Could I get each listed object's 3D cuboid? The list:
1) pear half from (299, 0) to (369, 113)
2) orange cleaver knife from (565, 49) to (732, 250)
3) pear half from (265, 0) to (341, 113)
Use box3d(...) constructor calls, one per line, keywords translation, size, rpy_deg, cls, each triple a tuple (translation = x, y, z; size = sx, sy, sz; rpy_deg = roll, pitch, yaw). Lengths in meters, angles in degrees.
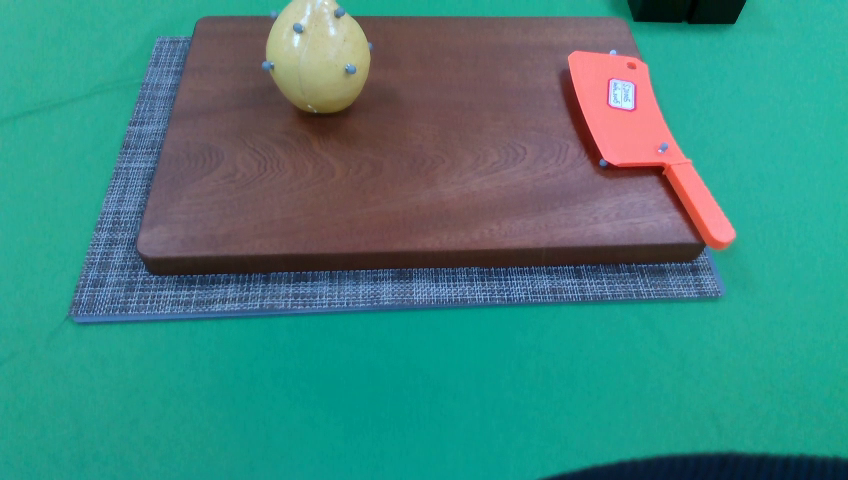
box3d(translation=(-0.061, -0.135, 0.456), size=(0.031, 0.089, 0.070), rpy_deg=(22, 52, 14), cls="pear half")
box3d(translation=(0.168, -0.080, 0.473), size=(0.077, 0.012, 0.209), rpy_deg=(-6, 57, -11), cls="orange cleaver knife")
box3d(translation=(-0.091, -0.156, 0.457), size=(0.056, 0.111, 0.076), rpy_deg=(24, 51, 14), cls="pear half")
